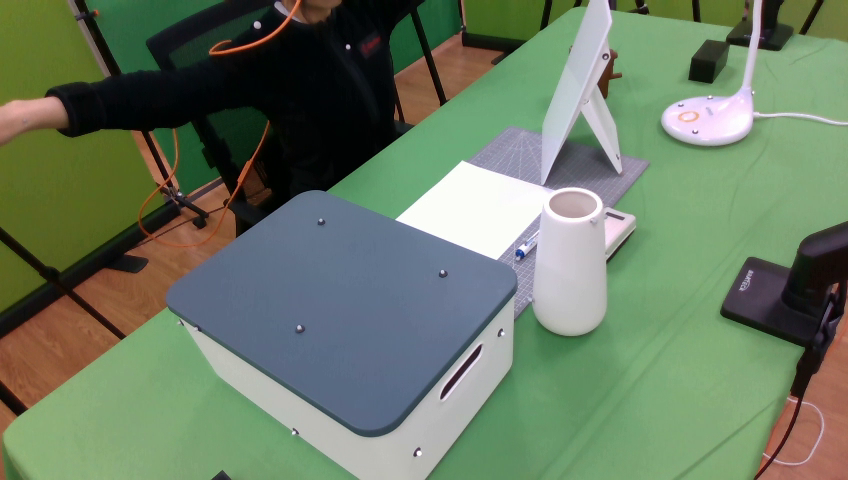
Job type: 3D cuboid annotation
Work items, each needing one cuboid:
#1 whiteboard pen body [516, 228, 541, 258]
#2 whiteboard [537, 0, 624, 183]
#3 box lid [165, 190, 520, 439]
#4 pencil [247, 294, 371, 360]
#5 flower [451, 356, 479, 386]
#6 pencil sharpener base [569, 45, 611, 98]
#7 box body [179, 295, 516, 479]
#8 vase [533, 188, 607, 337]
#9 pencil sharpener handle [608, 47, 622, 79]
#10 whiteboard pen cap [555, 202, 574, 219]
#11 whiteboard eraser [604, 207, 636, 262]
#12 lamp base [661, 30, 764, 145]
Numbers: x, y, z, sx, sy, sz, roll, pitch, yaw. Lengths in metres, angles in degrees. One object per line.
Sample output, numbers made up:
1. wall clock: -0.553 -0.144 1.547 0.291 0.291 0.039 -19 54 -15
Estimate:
1. whiteboard pen body: 0.192 -0.015 0.964 0.017 0.017 0.141 26 51 34
2. whiteboard: 0.316 -0.256 1.047 0.144 0.306 0.216 15 42 -1
3. box lid: -0.104 0.056 0.711 0.368 0.015 0.264 22 49 32
4. pencil: -0.163 0.124 0.867 0.194 0.012 0.012 -26 43 -15
5. flower: -0.086 0.173 0.785 0.361 0.038 0.044 -1 45 12
6. pencil sharpener base: 0.346 -0.352 1.262 0.077 0.107 0.061 -10 40 -1
7. box body: -0.093 0.113 0.757 0.361 0.161 0.255 22 49 32
8. vase: 0.187 0.033 0.771 0.098 0.201 0.097 -6 41 6
9. pencil sharpener handle: 0.395 -0.369 1.254 0.031 0.068 0.036 -10 32 -1
10. whiteboard pen cap: 0.230 -0.048 0.994 0.018 0.018 0.033 26 54 34
11. whiteboard eraser: 0.272 -0.003 0.919 0.055 0.042 0.113 27 51 32
12. lamp base: 0.535 -0.287 1.096 0.179 0.181 0.159 -10 40 -4
